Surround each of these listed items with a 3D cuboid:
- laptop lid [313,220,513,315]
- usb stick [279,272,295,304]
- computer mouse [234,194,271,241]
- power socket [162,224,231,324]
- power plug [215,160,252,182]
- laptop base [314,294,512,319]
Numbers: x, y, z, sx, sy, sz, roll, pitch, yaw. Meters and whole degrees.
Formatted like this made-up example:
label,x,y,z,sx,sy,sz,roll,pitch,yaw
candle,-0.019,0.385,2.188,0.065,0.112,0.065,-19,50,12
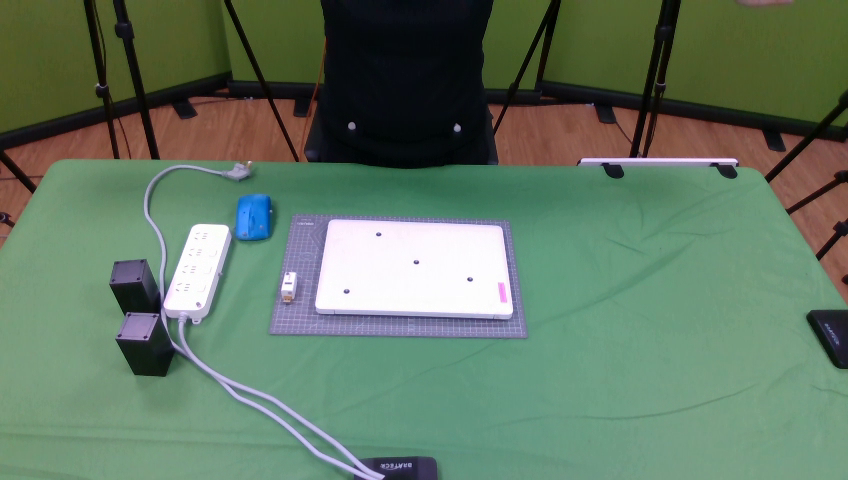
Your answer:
label,x,y,z,sx,sy,sz,roll,pitch,yaw
laptop lid,-0.017,0.045,1.138,0.357,0.013,0.240,3,43,-1
usb stick,-0.246,0.088,1.085,0.021,0.027,0.059,4,48,-4
computer mouse,-0.341,-0.048,1.207,0.063,0.041,0.116,0,50,-8
power socket,-0.411,0.053,1.106,0.072,0.033,0.225,3,46,-2
power plug,-0.409,-0.155,1.303,0.072,0.035,0.052,23,65,3
laptop base,-0.018,0.055,1.144,0.354,0.023,0.234,2,42,-2
